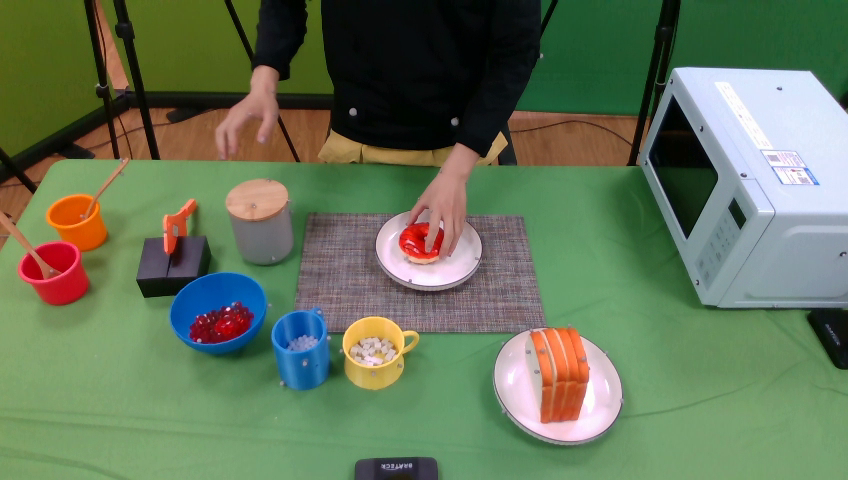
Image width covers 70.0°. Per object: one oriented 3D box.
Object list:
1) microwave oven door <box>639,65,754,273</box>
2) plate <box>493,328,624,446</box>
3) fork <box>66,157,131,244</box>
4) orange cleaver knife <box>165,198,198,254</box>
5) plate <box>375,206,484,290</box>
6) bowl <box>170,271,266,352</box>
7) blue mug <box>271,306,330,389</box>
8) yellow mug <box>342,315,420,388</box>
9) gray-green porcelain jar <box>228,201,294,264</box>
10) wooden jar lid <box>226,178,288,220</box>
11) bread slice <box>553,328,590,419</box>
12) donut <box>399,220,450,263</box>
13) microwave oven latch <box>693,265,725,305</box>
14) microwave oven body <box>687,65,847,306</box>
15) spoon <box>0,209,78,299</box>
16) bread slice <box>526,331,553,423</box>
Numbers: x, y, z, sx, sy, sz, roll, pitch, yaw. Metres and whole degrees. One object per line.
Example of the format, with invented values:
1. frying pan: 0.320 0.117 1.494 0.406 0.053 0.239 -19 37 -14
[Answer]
1. microwave oven door: 0.522 -0.147 1.193 0.039 0.245 0.353 0 47 -3
2. plate: 0.213 0.236 0.974 0.208 0.039 0.206 2 46 -2
3. fork: -0.608 -0.074 1.132 0.207 0.019 0.028 -52 48 10
4. orange cleaver knife: -0.458 -0.031 1.149 0.012 0.077 0.210 -2 17 -6
5. plate: 0.009 0.019 1.161 0.209 0.038 0.208 2 46 -2
6. bowl: -0.333 0.132 1.006 0.151 0.077 0.150 2 46 -2
7. blue mug: -0.188 0.163 0.969 0.082 0.106 0.116 15 47 10
8. yellow mug: -0.068 0.177 0.991 0.131 0.064 0.099 -15 50 -19
9. gray-green porcelain jar: -0.299 -0.027 1.126 0.106 0.127 0.105 1 47 -1
10. wooden jar lid: -0.296 -0.070 1.081 0.108 0.021 0.107 1 45 -1
11. bread slice: 0.226 0.201 0.932 0.018 0.135 0.106 -4 51 -4
12. donut: 0.000 0.001 1.161 0.099 0.048 0.098 3 46 -3
13. microwave oven latch: 0.522 0.081 1.115 0.030 0.029 0.078 2 46 -1
14. microwave oven body: 0.669 -0.111 1.176 0.326 0.261 0.439 0 46 -3
15. spoon: -0.668 0.021 1.040 0.041 0.021 0.194 -41 105 -29
16. bread slice: 0.176 0.202 0.929 0.019 0.132 0.104 -9 45 -1
